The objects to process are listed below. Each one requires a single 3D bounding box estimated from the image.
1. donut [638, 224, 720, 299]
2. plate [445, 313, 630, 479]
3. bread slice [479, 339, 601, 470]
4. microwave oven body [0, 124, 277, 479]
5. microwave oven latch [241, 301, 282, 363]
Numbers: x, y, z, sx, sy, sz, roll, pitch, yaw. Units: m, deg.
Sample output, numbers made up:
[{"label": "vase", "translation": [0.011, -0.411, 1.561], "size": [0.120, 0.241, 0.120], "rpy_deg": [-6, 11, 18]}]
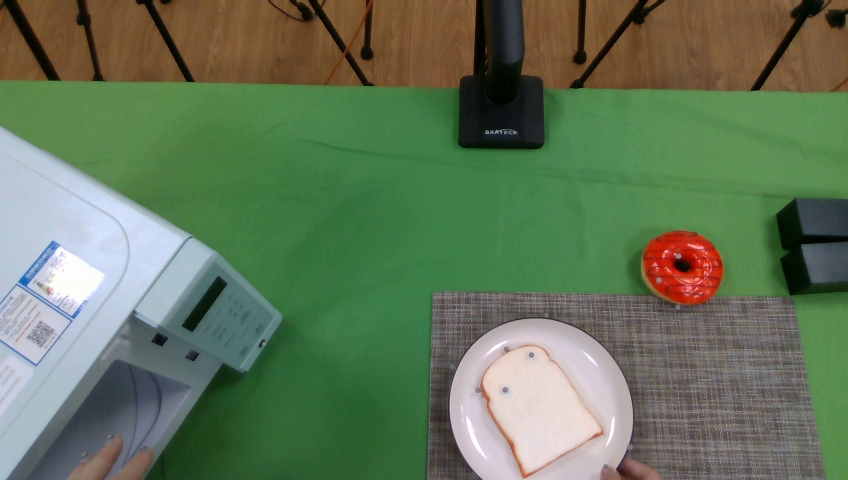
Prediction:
[{"label": "donut", "translation": [0.318, 0.027, 0.755], "size": [0.099, 0.048, 0.098], "rpy_deg": [-2, 66, 5]}, {"label": "plate", "translation": [0.128, 0.189, 0.699], "size": [0.207, 0.039, 0.206], "rpy_deg": [-1, 68, 3]}, {"label": "bread slice", "translation": [0.125, 0.183, 0.704], "size": [0.105, 0.019, 0.130], "rpy_deg": [-29, 70, -8]}, {"label": "microwave oven body", "translation": [-0.424, 0.150, 0.618], "size": [0.325, 0.262, 0.440], "rpy_deg": [28, 74, 11]}, {"label": "microwave oven latch", "translation": [-0.203, 0.107, 0.730], "size": [0.030, 0.030, 0.079], "rpy_deg": [30, 74, 12]}]
